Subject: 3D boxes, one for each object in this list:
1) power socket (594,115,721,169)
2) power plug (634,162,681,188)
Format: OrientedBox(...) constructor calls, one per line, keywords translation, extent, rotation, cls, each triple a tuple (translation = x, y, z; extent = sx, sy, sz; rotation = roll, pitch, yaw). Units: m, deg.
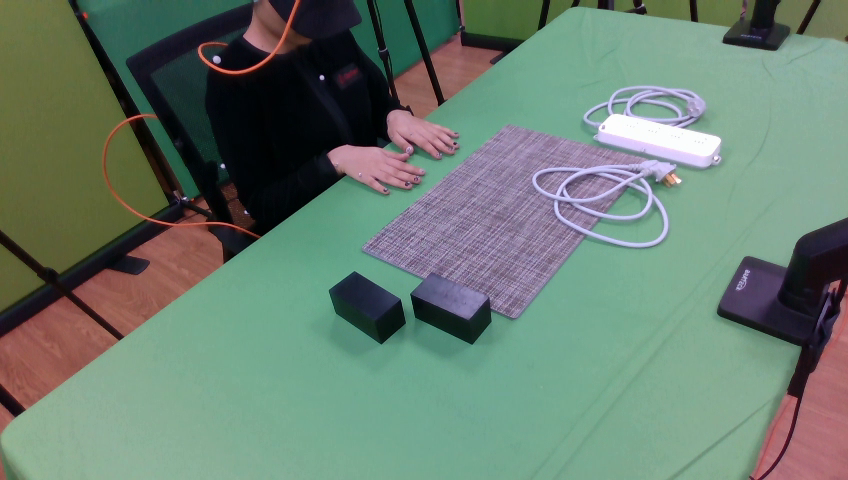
OrientedBox(translation=(0.428, -0.183, 1.109), extent=(0.225, 0.033, 0.072), rotation=(23, 49, 33), cls="power socket")
OrientedBox(translation=(0.396, -0.102, 1.026), extent=(0.072, 0.035, 0.052), rotation=(-35, 69, -5), cls="power plug")
